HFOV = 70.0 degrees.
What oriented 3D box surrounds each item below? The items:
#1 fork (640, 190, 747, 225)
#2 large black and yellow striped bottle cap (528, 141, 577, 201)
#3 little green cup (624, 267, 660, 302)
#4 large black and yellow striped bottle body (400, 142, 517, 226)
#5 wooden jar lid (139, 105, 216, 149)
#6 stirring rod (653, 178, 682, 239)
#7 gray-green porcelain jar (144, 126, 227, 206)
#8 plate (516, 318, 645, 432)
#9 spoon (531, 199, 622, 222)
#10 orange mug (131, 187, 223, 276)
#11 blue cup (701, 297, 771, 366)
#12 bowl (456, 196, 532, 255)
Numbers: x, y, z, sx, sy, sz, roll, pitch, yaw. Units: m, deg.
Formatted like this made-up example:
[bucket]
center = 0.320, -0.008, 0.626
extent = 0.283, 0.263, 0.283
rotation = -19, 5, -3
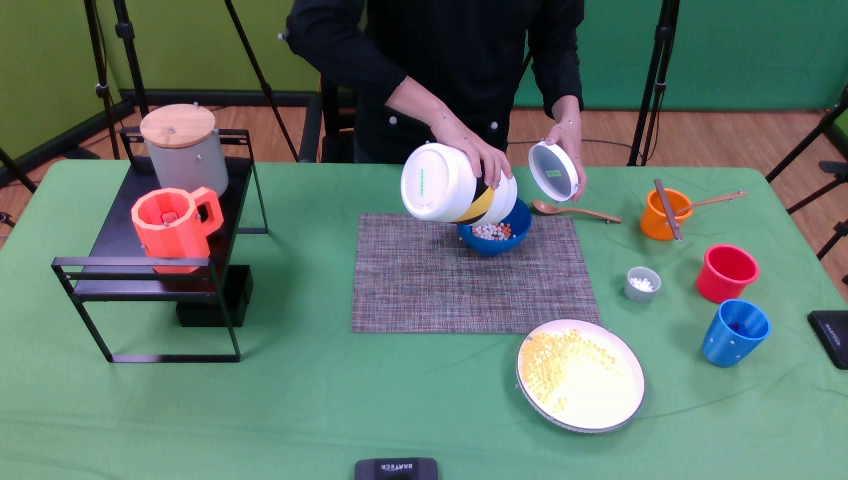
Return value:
[fork]
center = 0.533, -0.064, 1.211
extent = 0.207, 0.019, 0.028
rotation = -22, 28, 38
[large black and yellow striped bottle cap]
center = 0.229, -0.124, 1.088
extent = 0.019, 0.115, 0.114
rotation = -31, 55, -15
[little green cup]
center = 0.406, 0.084, 1.135
extent = 0.061, 0.039, 0.061
rotation = 3, 46, -3
[large black and yellow striped bottle body]
center = 0.064, -0.092, 1.053
extent = 0.185, 0.131, 0.130
rotation = 5, 37, -44
[wooden jar lid]
center = -0.372, -0.169, 0.920
extent = 0.108, 0.021, 0.107
rotation = 4, 44, -4
[stirring rod]
center = 0.481, -0.065, 1.204
extent = 0.014, 0.006, 0.175
rotation = 2, 46, 0
[gray-green porcelain jar]
center = -0.375, -0.126, 0.967
extent = 0.106, 0.127, 0.105
rotation = 2, 46, -2
[plate]
center = 0.253, 0.221, 0.993
extent = 0.209, 0.038, 0.208
rotation = 2, 46, -2
[spoon]
center = 0.322, -0.060, 1.279
extent = 0.194, 0.022, 0.041
rotation = 8, 32, 4
[orange mug]
center = -0.354, -0.022, 0.888
extent = 0.083, 0.101, 0.126
rotation = 31, 55, 24
[blue cup]
center = 0.519, 0.162, 1.025
extent = 0.093, 0.101, 0.092
rotation = 3, 45, -3
[bowl]
center = 0.130, -0.025, 1.186
extent = 0.151, 0.077, 0.150
rotation = 2, 46, -2
